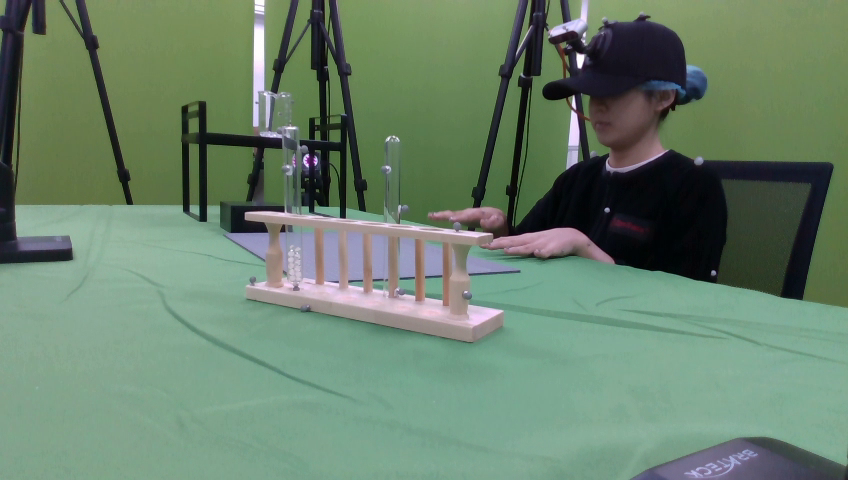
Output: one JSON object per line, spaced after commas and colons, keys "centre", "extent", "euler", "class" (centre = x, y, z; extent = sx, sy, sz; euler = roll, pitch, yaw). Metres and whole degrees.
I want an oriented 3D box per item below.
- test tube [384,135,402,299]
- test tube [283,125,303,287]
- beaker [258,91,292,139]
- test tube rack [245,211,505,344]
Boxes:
{"centre": [-0.028, -0.019, 0.550], "extent": [0.017, 0.150, 0.017], "euler": [1, 9, 0], "class": "test tube"}
{"centre": [-0.121, -0.030, 0.558], "extent": [0.017, 0.150, 0.017], "euler": [1, 11, 0], "class": "test tube"}
{"centre": [-0.331, -0.276, 1.343], "extent": [0.074, 0.100, 0.083], "euler": [0, 8, -20], "class": "beaker"}
{"centre": [-0.049, 0.024, 0.547], "extent": [0.241, 0.085, 0.067], "euler": [7, 8, 28], "class": "test tube rack"}
